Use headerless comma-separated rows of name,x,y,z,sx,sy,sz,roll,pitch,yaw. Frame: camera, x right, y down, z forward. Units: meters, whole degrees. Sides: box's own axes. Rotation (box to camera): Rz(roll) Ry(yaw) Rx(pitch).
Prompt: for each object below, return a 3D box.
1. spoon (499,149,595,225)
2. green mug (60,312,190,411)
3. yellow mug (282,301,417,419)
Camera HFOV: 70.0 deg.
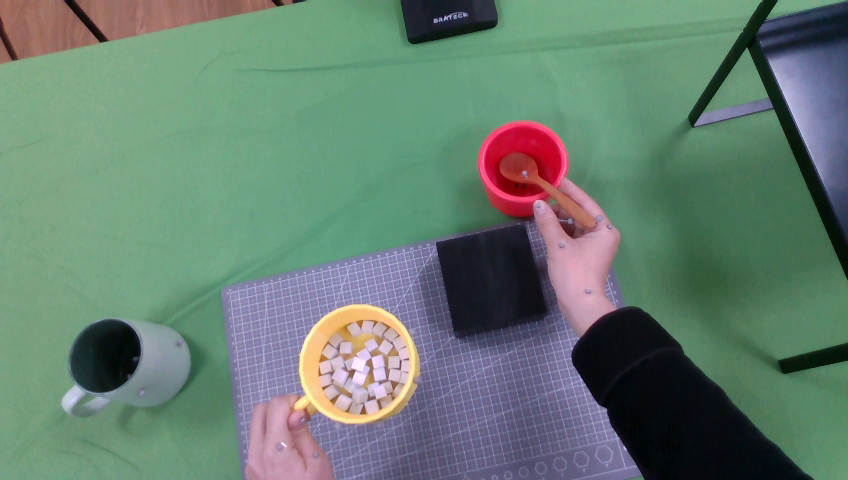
spoon,0.128,-0.060,0.649,0.041,0.192,0.022,-25,119,-4
green mug,-0.326,0.136,0.650,0.125,0.105,0.092,-44,76,-8
yellow mug,-0.070,0.117,0.539,0.131,0.064,0.099,-37,76,-7
